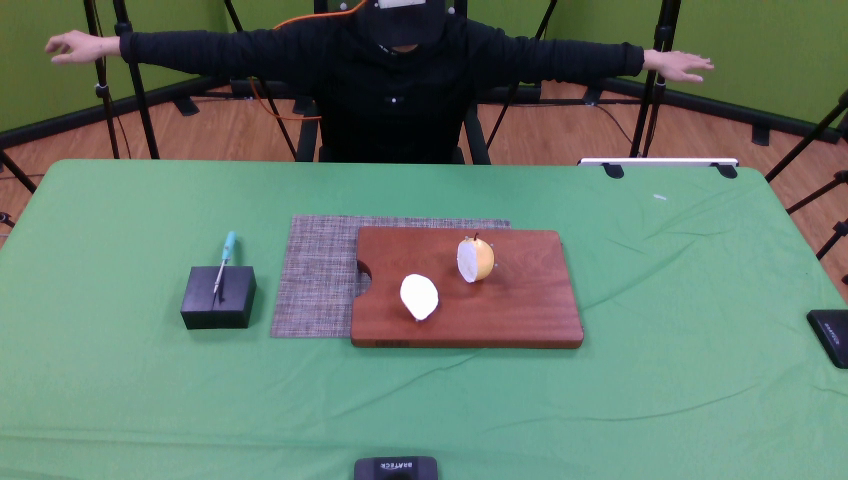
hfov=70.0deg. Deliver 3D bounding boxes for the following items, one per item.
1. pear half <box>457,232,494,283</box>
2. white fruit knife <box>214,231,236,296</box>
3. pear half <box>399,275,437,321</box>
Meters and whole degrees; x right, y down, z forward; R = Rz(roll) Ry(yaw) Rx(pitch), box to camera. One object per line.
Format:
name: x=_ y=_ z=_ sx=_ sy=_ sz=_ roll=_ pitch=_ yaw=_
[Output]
pear half: x=0.098 y=0.023 z=1.087 sx=0.056 sy=0.110 sz=0.076 roll=-22 pitch=55 yaw=-24
white fruit knife: x=-0.359 y=0.038 z=1.091 sx=0.016 sy=0.027 sz=0.206 roll=5 pitch=29 yaw=-11
pear half: x=-0.013 y=0.104 z=1.051 sx=0.070 sy=0.031 sz=0.087 roll=12 pitch=58 yaw=-15
